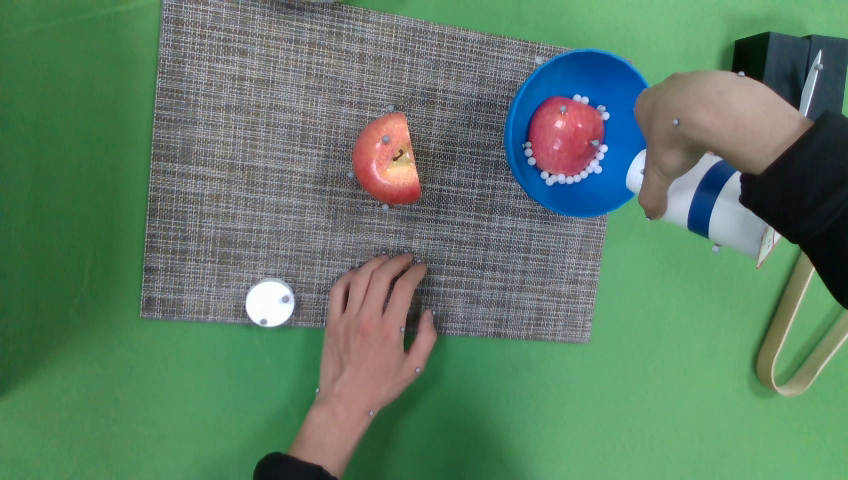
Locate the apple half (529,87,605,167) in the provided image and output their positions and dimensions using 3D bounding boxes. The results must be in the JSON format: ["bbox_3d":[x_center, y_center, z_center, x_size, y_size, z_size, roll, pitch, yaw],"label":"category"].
[{"bbox_3d":[0.141,-0.106,0.575,0.081,0.032,0.081,-2,97,-13],"label":"apple half"}]

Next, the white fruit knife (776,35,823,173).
[{"bbox_3d":[0.388,-0.107,0.639,0.016,0.027,0.209,3,115,4],"label":"white fruit knife"}]

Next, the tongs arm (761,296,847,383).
[{"bbox_3d":[0.537,0.018,0.722,0.051,0.026,0.384,36,90,-14],"label":"tongs arm"}]

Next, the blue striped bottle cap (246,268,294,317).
[{"bbox_3d":[-0.144,0.050,0.567,0.045,0.020,0.044,-2,98,-15],"label":"blue striped bottle cap"}]

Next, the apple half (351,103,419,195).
[{"bbox_3d":[-0.038,-0.078,0.544,0.053,0.074,0.081,-13,104,-8],"label":"apple half"}]

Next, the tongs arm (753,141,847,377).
[{"bbox_3d":[0.469,-0.024,0.704,0.028,0.027,0.387,22,93,-17],"label":"tongs arm"}]

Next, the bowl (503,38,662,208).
[{"bbox_3d":[0.138,-0.108,0.579,0.152,0.076,0.151,-2,99,-12],"label":"bowl"}]

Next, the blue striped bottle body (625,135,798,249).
[{"bbox_3d":[0.225,-0.045,0.489,0.063,0.119,0.063,-29,135,-34],"label":"blue striped bottle body"}]
